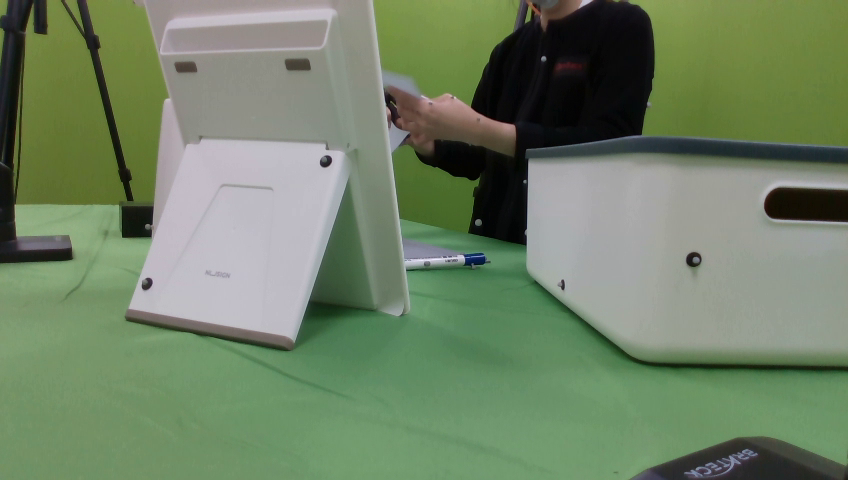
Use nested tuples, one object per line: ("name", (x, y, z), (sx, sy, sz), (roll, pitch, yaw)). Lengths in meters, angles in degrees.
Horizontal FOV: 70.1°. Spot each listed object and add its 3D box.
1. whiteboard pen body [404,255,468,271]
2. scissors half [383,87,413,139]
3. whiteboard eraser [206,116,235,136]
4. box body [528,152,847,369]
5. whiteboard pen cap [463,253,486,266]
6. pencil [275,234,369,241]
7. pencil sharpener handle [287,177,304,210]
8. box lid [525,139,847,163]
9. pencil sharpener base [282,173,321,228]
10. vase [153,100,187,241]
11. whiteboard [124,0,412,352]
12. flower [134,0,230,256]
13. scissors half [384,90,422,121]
("whiteboard pen body", (0.012, 0.030, 0.792), (0.141, 0.017, 0.017), (-3, 9, -24))
("scissors half", (-0.066, -0.238, 1.065), (0.012, 0.040, 0.176), (20, -22, 38))
("whiteboard eraser", (-0.450, -0.252, 1.335), (0.056, 0.042, 0.112), (1, 7, -22))
("box body", (0.258, -0.005, 0.591), (0.254, 0.160, 0.363), (2, 7, -4))
("whiteboard pen cap", (0.066, 0.027, 0.818), (0.033, 0.018, 0.018), (-5, 10, -24))
("pencil", (-0.169, -0.006, 1.036), (0.195, 0.012, 0.012), (-2, 9, -45))
("pencil sharpener handle", (-0.269, -0.096, 1.257), (0.036, 0.067, 0.030), (-8, 8, -27))
("box lid", (0.261, -0.078, 0.580), (0.264, 0.015, 0.371), (2, 7, -4))
("pencil sharpener base", (-0.247, -0.080, 1.212), (0.061, 0.107, 0.076), (-2, 5, -28))
("vase", (-0.278, -0.066, 0.736), (0.098, 0.200, 0.098), (2, 9, 0))
("whiteboard", (-0.151, -0.049, 0.472), (0.216, 0.305, 0.144), (6, 27, 24))
("flower", (-0.282, -0.147, 0.713), (0.038, 0.362, 0.044), (-23, 24, -31))
("scissors half", (-0.057, -0.257, 1.069), (0.013, 0.040, 0.176), (14, -4, 37))
